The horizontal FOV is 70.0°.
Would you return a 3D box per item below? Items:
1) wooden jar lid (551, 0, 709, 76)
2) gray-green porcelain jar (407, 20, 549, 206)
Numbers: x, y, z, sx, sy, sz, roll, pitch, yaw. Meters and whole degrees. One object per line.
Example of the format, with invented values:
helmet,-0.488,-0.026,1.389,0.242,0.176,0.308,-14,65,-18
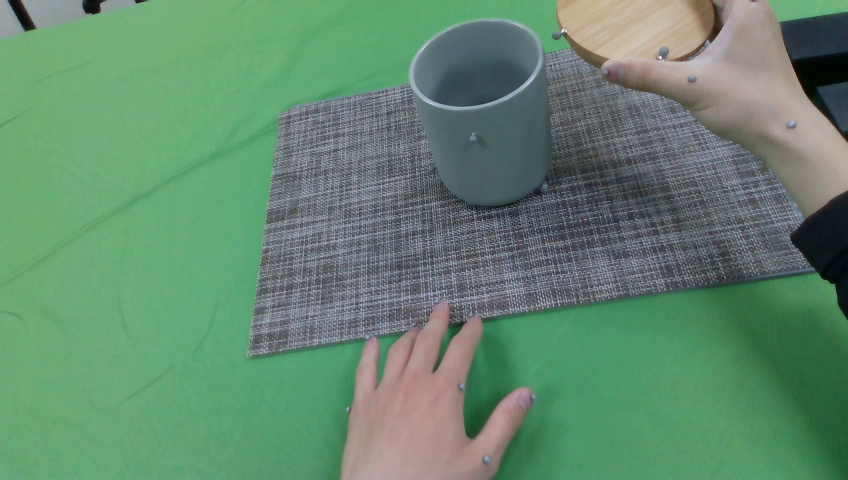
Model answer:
wooden jar lid,0.146,-0.158,0.434,0.108,0.021,0.107,-2,61,4
gray-green porcelain jar,0.051,-0.099,0.509,0.106,0.128,0.105,-7,53,10
